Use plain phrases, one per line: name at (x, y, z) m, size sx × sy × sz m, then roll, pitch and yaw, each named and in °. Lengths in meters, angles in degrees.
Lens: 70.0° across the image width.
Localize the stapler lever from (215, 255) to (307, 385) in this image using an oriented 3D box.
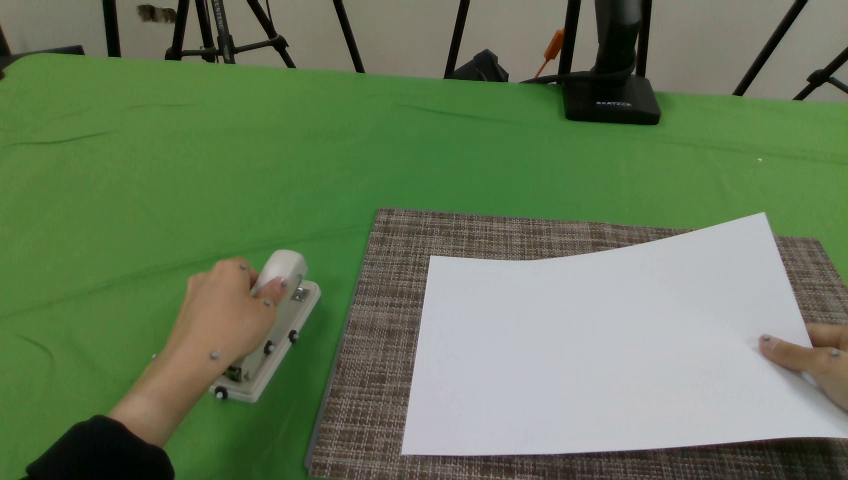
stapler lever at (-0.128, 0.059, 0.485) m, size 0.027 × 0.040 × 0.117 m, roll 10°, pitch 42°, yaw 13°

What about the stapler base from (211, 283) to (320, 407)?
stapler base at (-0.128, 0.076, 0.502) m, size 0.041 × 0.024 × 0.129 m, roll 10°, pitch 43°, yaw 12°
